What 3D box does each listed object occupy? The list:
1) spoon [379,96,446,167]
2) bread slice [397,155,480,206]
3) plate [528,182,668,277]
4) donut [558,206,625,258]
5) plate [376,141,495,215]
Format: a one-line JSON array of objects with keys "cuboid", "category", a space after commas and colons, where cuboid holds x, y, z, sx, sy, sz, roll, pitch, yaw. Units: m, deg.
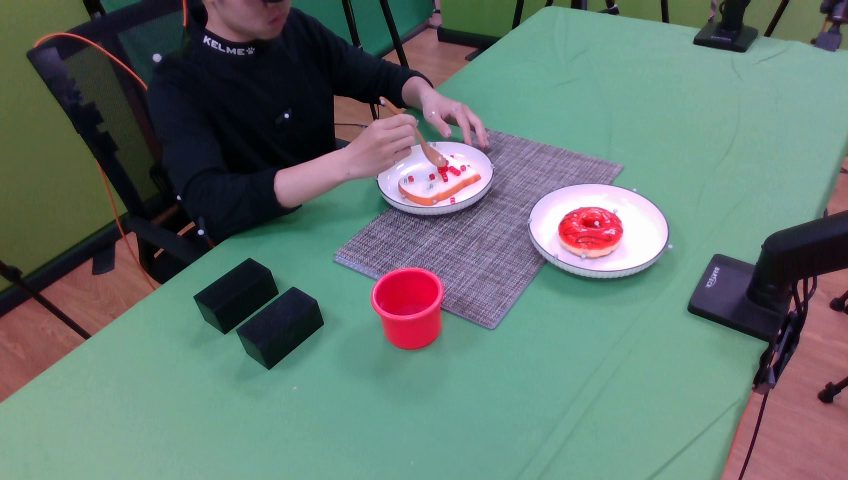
[{"cuboid": [-0.016, -0.181, 1.010, 0.021, 0.195, 0.041, -20, 53, 20], "category": "spoon"}, {"cuboid": [0.021, -0.106, 1.078, 0.132, 0.019, 0.104, -31, 46, -29], "category": "bread slice"}, {"cuboid": [0.264, -0.014, 0.933, 0.207, 0.039, 0.206, -3, 42, 3], "category": "plate"}, {"cuboid": [0.254, -0.015, 0.918, 0.099, 0.048, 0.098, -5, 41, 5], "category": "donut"}, {"cuboid": [0.022, -0.106, 1.073, 0.209, 0.038, 0.208, -4, 40, 4], "category": "plate"}]
